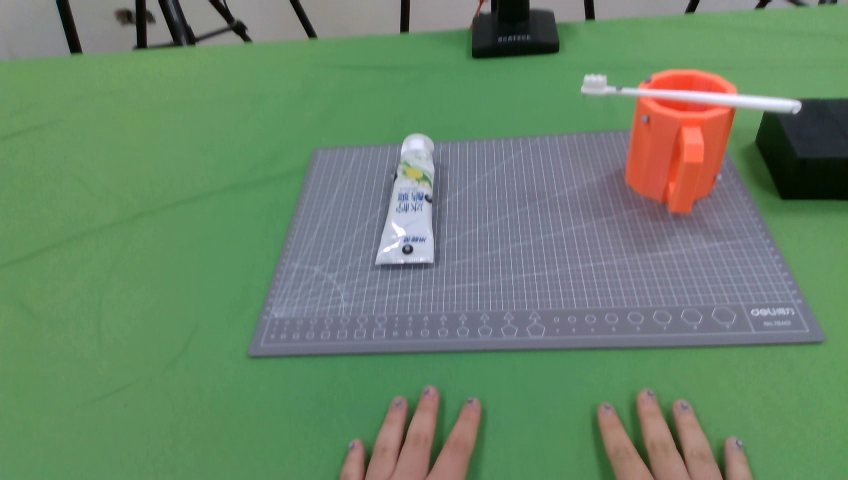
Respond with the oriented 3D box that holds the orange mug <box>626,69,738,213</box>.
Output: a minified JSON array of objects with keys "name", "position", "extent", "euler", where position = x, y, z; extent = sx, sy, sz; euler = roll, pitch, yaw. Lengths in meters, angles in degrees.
[{"name":"orange mug","position":[0.238,-0.087,0.562],"extent":[0.083,0.102,0.125],"euler":[4,40,12]}]

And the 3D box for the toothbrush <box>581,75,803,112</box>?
[{"name":"toothbrush","position":[0.229,-0.129,0.530],"extent":[0.181,0.017,0.014],"euler":[11,39,19]}]

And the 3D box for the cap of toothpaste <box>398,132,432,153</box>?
[{"name":"cap of toothpaste","position":[-0.010,-0.100,0.651],"extent":[0.037,0.038,0.011],"euler":[0,50,8]}]

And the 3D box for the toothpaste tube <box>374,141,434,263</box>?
[{"name":"toothpaste tube","position":[-0.016,-0.042,0.601],"extent":[0.055,0.035,0.163],"euler":[-5,48,9]}]
